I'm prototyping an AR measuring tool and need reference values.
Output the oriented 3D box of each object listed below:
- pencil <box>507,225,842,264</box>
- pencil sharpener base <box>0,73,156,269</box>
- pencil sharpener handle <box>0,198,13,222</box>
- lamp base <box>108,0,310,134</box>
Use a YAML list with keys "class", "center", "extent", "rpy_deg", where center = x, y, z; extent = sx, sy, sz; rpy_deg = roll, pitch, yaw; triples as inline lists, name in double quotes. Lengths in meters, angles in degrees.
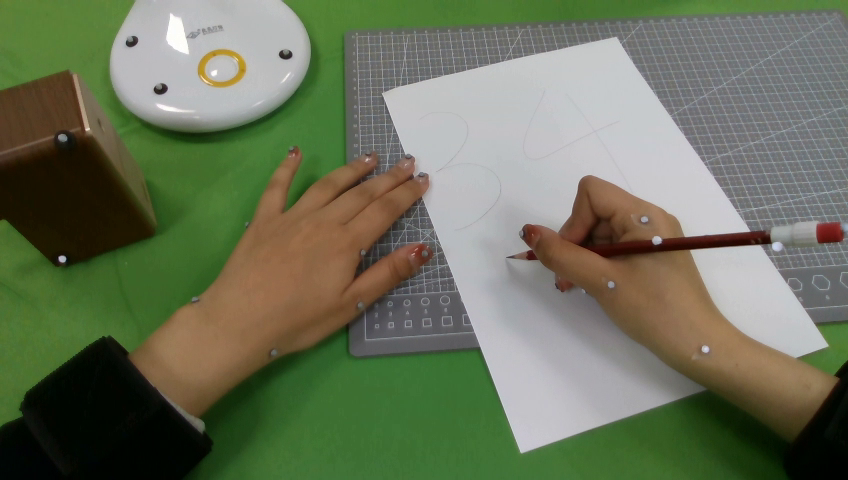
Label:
- class: "pencil"
  center: [0.121, 0.006, 0.340]
  extent: [0.193, 0.012, 0.012]
  rpy_deg: [-7, 45, 47]
- class: "pencil sharpener base"
  center: [-0.230, -0.039, 0.383]
  extent: [0.077, 0.108, 0.061]
  rpy_deg: [-22, 62, -13]
- class: "pencil sharpener handle"
  center: [-0.276, -0.027, 0.361]
  extent: [0.031, 0.068, 0.035]
  rpy_deg: [-22, 64, -13]
- class: "lamp base"
  center: [-0.182, -0.198, 0.438]
  extent: [0.160, 0.182, 0.177]
  rpy_deg: [-32, 62, -18]
